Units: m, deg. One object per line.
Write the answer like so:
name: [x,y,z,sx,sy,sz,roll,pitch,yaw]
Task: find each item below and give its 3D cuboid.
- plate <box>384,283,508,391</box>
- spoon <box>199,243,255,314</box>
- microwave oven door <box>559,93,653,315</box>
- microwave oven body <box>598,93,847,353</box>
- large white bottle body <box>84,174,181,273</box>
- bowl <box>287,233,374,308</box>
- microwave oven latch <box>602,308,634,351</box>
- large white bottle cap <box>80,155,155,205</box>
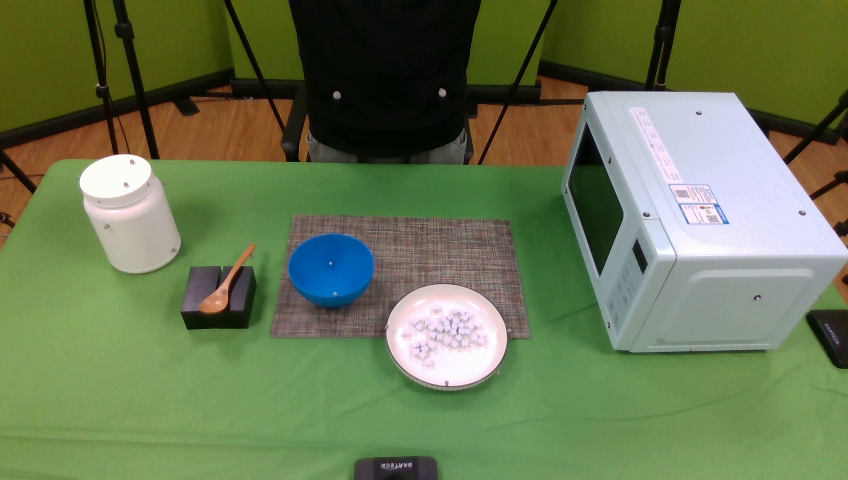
plate: [0.036,0.166,1.029,0.209,0.038,0.208,2,49,-2]
spoon: [-0.333,0.063,1.051,0.041,0.022,0.193,7,41,8]
microwave oven door: [0.327,-0.074,1.123,0.039,0.245,0.353,-1,46,-5]
microwave oven body: [0.475,-0.041,1.109,0.326,0.261,0.438,-1,45,-4]
large white bottle body: [-0.523,-0.045,1.088,0.131,0.185,0.130,2,46,-2]
bowl: [-0.164,0.068,1.078,0.151,0.077,0.150,3,46,-2]
microwave oven latch: [0.332,0.153,1.044,0.030,0.029,0.078,-1,45,-4]
large white bottle cap: [-0.519,-0.104,1.027,0.115,0.018,0.114,2,46,-2]
